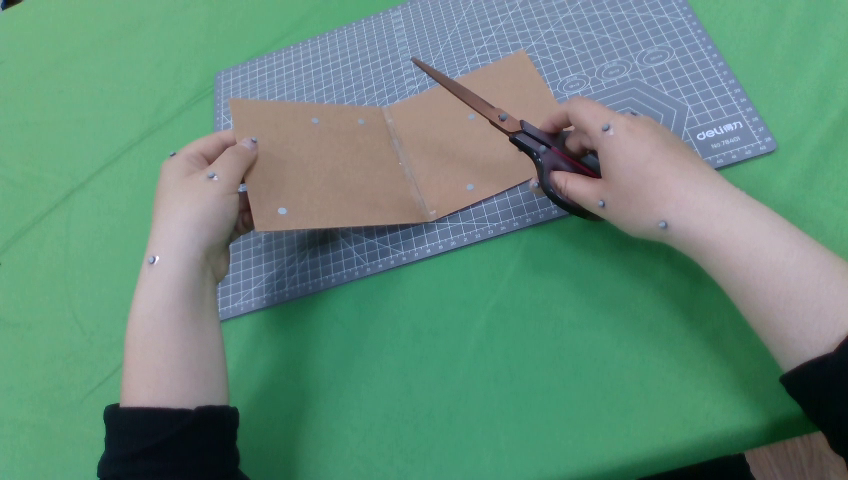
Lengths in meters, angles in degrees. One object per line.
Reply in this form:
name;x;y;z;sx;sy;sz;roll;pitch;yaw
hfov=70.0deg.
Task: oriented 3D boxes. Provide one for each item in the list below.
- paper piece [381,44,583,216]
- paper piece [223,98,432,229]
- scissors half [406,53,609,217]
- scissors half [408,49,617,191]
paper piece;0.043;-0.097;0.504;0.135;0.004;0.134;-23;58;2
paper piece;-0.078;-0.066;0.477;0.139;0.009;0.134;-5;52;-25
scissors half;0.057;-0.073;0.416;0.175;0.013;0.040;39;48;-2
scissors half;0.064;-0.087;0.428;0.176;0.013;0.040;28;55;-11
